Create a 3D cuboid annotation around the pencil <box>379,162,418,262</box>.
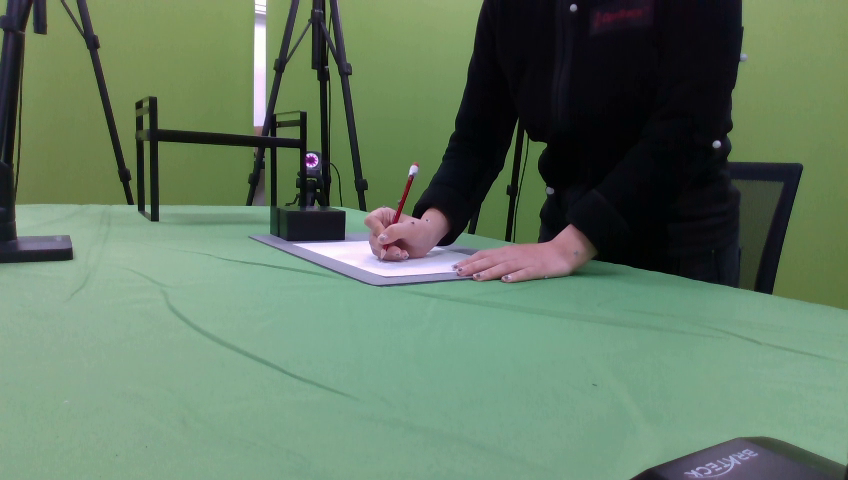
[{"bbox_3d":[-0.036,-0.044,0.846,0.012,0.012,0.194,5,49,15],"label":"pencil"}]
